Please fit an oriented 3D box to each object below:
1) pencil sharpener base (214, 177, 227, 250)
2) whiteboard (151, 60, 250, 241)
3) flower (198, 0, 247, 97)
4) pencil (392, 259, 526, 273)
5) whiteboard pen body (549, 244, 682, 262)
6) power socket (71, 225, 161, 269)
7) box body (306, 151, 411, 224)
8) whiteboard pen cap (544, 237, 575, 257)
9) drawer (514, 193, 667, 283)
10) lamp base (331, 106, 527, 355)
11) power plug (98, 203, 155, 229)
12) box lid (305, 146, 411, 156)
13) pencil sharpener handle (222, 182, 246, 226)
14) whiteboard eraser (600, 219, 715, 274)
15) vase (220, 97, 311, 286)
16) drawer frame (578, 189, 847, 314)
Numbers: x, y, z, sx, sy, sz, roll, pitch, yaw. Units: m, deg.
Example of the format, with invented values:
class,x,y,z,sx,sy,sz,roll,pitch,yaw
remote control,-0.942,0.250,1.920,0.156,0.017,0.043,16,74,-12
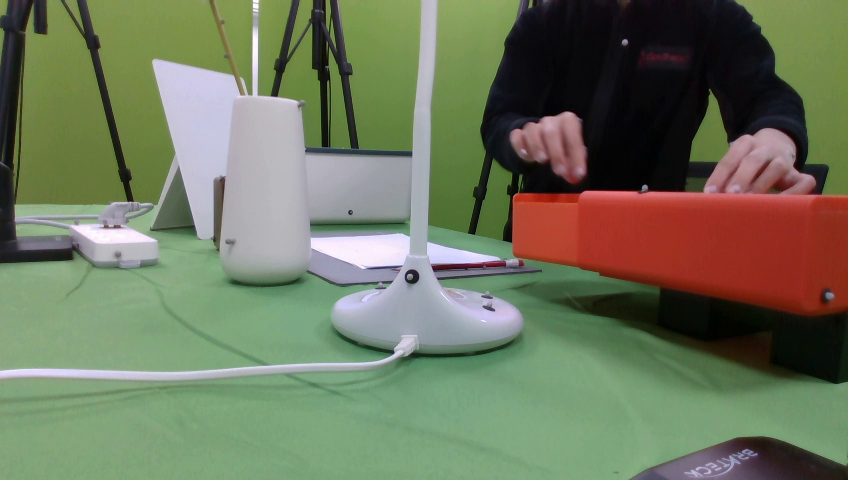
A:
class,x,y,z,sx,sy,sz,roll,pitch,yaw
pencil sharpener base,-0.265,-0.036,0.870,0.061,0.107,0.076,-2,8,-29
whiteboard,-0.408,-0.139,1.093,0.143,0.305,0.218,-15,0,26
flower,-0.187,-0.133,0.648,0.038,0.362,0.044,-1,22,43
pencil,0.049,0.035,0.782,0.195,0.012,0.012,-3,9,-25
whiteboard pen body,0.185,0.014,0.603,0.140,0.017,0.017,-3,2,44
power socket,-0.408,0.004,0.793,0.072,0.032,0.225,-2,8,-38
box body,-0.230,-0.126,1.371,0.366,0.160,0.253,-2,8,-33
whiteboard pen cap,0.147,0.008,0.648,0.018,0.018,0.033,-4,15,-39
drawer,0.228,-0.008,0.605,0.195,0.073,0.211,-1,6,-28
lamp base,0.006,-0.012,0.478,0.161,0.180,0.179,2,10,2
power plug,-0.416,-0.026,0.848,0.073,0.052,0.035,1,8,-28
box lid,-0.229,-0.200,1.360,0.373,0.015,0.262,-3,9,-33
pencil sharpener handle,-0.289,-0.055,0.912,0.036,0.067,0.030,-3,9,-29
whiteboard eraser,0.246,0.006,0.647,0.056,0.042,0.112,-2,15,-27
vase,-0.172,-0.052,0.662,0.098,0.200,0.098,3,8,0
drawer frame,0.278,-0.002,0.515,0.203,0.082,0.212,-1,6,-28
